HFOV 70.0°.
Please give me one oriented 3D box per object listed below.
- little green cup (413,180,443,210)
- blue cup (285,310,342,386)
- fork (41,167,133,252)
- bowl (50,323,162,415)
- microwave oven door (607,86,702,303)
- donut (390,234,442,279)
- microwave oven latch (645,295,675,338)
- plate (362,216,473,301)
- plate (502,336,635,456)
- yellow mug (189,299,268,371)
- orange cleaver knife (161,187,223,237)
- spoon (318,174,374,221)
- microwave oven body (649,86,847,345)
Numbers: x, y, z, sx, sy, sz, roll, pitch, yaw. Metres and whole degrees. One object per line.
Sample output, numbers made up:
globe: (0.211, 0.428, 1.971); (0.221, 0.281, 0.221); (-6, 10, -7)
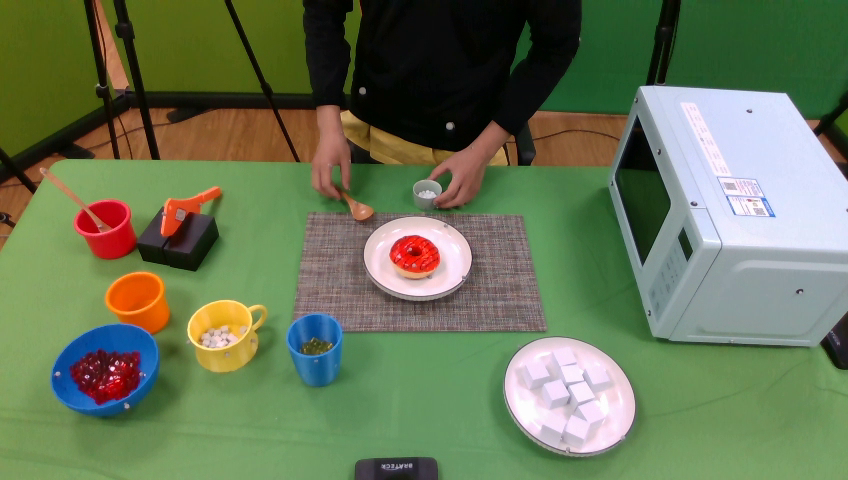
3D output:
little green cup: (0.007, -0.094, 1.277); (0.061, 0.039, 0.061); (3, 49, -4)
blue cup: (-0.170, 0.179, 0.958); (0.093, 0.101, 0.092); (2, 44, -1)
fork: (-0.624, -0.056, 1.121); (0.208, 0.018, 0.028); (49, 51, -15)
bowl: (-0.472, 0.209, 0.924); (0.151, 0.077, 0.150); (3, 45, -2)
microwave oven door: (0.423, -0.094, 1.141); (0.039, 0.245, 0.353); (3, 46, -1)
donut: (-0.016, 0.031, 1.135); (0.099, 0.048, 0.098); (4, 44, -3)
microwave oven latch: (0.412, 0.134, 1.061); (0.030, 0.029, 0.078); (3, 45, 0)
plate: (-0.012, 0.038, 1.144); (0.209, 0.038, 0.208); (2, 46, -2)
plate: (0.225, 0.248, 0.963); (0.208, 0.039, 0.206); (2, 46, -2)
yellow mug: (-0.316, 0.148, 1.002); (0.131, 0.064, 0.099); (-32, 56, -31)
orange cleaver knife: (-0.448, -0.058, 1.181); (0.012, 0.077, 0.211); (13, 17, 6)
spoon: (-0.168, -0.094, 1.274); (0.041, 0.022, 0.192); (-39, 57, -14)
microwave oven body: (0.568, -0.053, 1.118); (0.326, 0.261, 0.439); (2, 45, -1)
